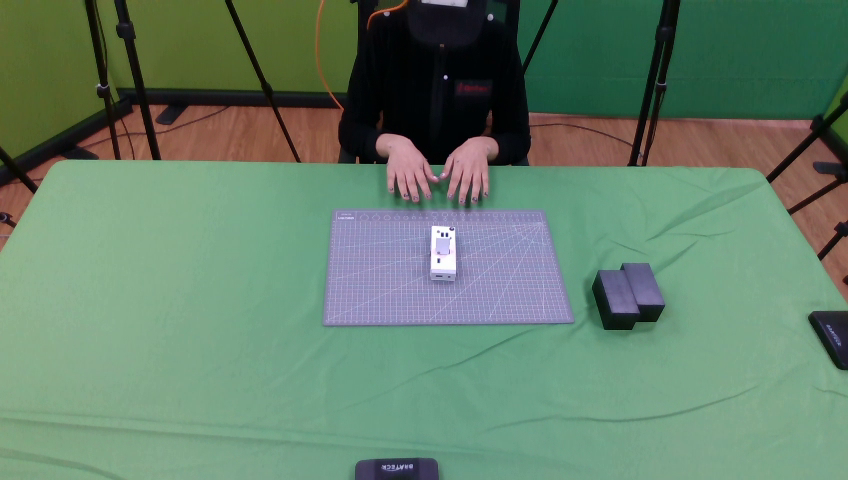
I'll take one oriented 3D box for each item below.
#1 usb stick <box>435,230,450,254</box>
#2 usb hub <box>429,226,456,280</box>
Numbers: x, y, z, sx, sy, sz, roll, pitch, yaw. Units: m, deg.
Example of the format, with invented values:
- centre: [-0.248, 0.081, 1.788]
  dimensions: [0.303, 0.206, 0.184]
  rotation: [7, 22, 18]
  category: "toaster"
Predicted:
- centre: [0.034, 0.009, 1.146]
  dimensions: [0.027, 0.059, 0.021]
  rotation: [3, 46, -4]
  category: "usb stick"
- centre: [0.037, 0.024, 1.173]
  dimensions: [0.049, 0.025, 0.124]
  rotation: [3, 46, -2]
  category: "usb hub"
